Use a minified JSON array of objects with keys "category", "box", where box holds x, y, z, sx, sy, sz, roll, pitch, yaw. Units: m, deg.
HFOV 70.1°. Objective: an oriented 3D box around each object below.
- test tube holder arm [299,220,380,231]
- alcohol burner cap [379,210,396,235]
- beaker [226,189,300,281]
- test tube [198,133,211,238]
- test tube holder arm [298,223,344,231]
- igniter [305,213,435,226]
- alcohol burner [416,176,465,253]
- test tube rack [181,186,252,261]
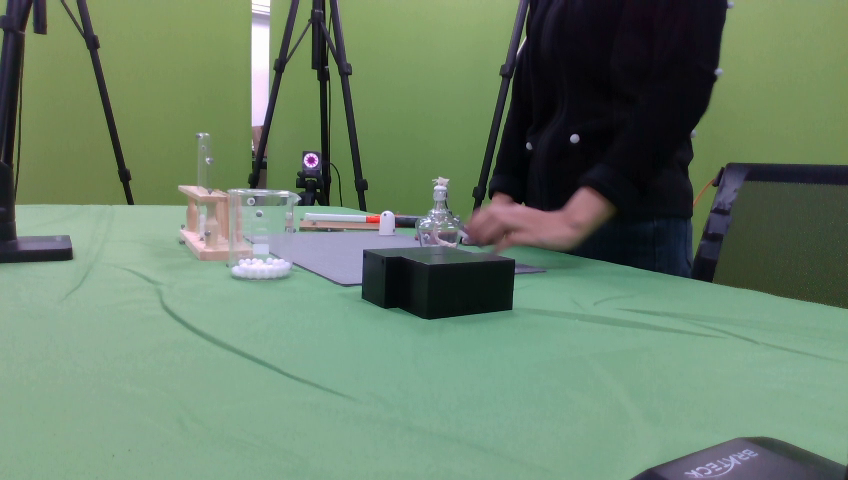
[{"category":"test tube holder arm","box":[-0.153,-0.028,1.174,0.179,0.015,0.013,1,-27,-21]},{"category":"alcohol burner cap","box":[-0.067,-0.033,1.129,0.034,0.048,0.034,1,7,0]},{"category":"beaker","box":[-0.184,-0.007,0.694,0.084,0.100,0.073,-1,8,-29]},{"category":"test tube","box":[-0.316,-0.078,0.871,0.017,0.150,0.017,2,3,0]},{"category":"test tube holder arm","box":[-0.197,-0.026,1.163,0.088,0.015,0.010,0,-27,-20]},{"category":"igniter","box":[-0.114,-0.046,1.296,0.277,0.025,0.057,1,-2,-11]},{"category":"alcohol burner","box":[0.025,-0.040,0.935,0.078,0.119,0.078,0,6,0]},{"category":"test tube rack","box":[-0.312,-0.031,0.893,0.067,0.085,0.241,-1,8,-27]}]
